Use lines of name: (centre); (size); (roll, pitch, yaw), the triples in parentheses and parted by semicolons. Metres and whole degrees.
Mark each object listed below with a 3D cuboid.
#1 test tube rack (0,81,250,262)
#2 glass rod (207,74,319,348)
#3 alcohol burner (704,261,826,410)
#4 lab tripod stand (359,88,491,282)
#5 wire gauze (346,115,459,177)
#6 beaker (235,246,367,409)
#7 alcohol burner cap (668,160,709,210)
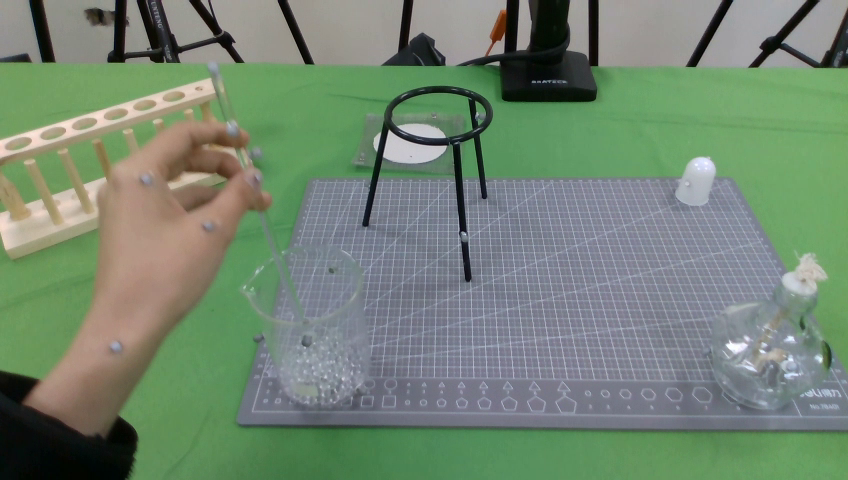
test tube rack: (-0.308, -0.075, 0.606); (0.242, 0.086, 0.066); (-26, 47, -25)
glass rod: (-0.094, -0.005, 0.373); (0.008, 0.201, 0.008); (-8, 34, 6)
alcohol burner: (0.239, 0.062, 0.415); (0.078, 0.120, 0.077); (0, 39, 1)
lab tripod stand: (0.007, -0.054, 0.537); (0.148, 0.133, 0.147); (-1, 43, 2)
wire gauze: (-0.021, -0.113, 0.704); (0.125, 0.011, 0.120); (2, 40, 5)
beaker: (-0.082, 0.066, 0.429); (0.084, 0.101, 0.073); (-2, 41, 1)
alcohol burner cap: (0.266, -0.058, 0.605); (0.034, 0.048, 0.033); (0, 41, 1)
